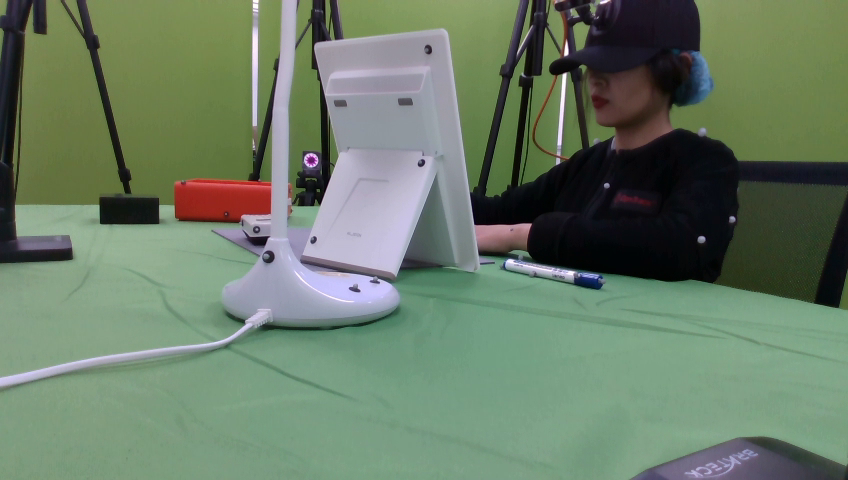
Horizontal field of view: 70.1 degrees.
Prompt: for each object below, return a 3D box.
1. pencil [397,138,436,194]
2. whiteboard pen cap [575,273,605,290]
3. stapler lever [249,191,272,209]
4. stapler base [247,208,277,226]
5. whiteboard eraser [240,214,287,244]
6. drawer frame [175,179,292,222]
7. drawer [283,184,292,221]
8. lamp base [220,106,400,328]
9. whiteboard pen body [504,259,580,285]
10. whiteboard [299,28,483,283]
[{"bbox_3d":[-0.013,-0.142,1.136,0.012,0.012,0.194,6,40,22],"label":"pencil"},{"bbox_3d":[0.197,0.048,0.719,0.018,0.018,0.033,-4,11,-41],"label":"whiteboard pen cap"},{"bbox_3d":[-0.352,-0.086,1.306,0.027,0.040,0.118,-1,5,-3],"label":"stapler lever"},{"bbox_3d":[-0.350,-0.054,1.310,0.041,0.024,0.130,-1,12,-3],"label":"stapler base"},{"bbox_3d":[-0.256,-0.018,0.958,0.056,0.042,0.112,0,8,-25],"label":"whiteboard eraser"},{"bbox_3d":[-0.402,-0.087,1.311,0.214,0.082,0.201,1,8,-9],"label":"drawer frame"},{"bbox_3d":[-0.397,-0.087,1.314,0.212,0.073,0.194,1,8,-9],"label":"drawer"},{"bbox_3d":[-0.101,-0.023,0.531,0.160,0.180,0.179,4,10,10],"label":"lamp base"},{"bbox_3d":[0.157,0.042,0.764,0.017,0.017,0.140,-4,10,-41],"label":"whiteboard pen body"},{"bbox_3d":[-0.075,-0.082,0.741,0.216,0.305,0.144,9,30,38],"label":"whiteboard"}]
